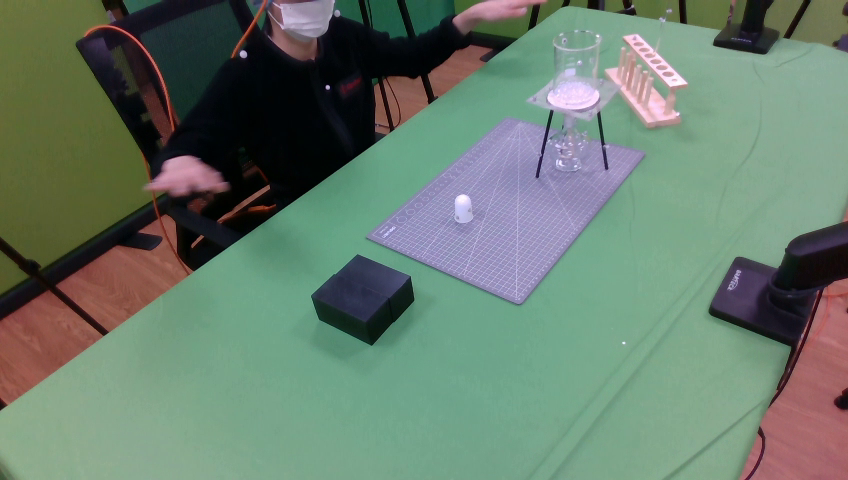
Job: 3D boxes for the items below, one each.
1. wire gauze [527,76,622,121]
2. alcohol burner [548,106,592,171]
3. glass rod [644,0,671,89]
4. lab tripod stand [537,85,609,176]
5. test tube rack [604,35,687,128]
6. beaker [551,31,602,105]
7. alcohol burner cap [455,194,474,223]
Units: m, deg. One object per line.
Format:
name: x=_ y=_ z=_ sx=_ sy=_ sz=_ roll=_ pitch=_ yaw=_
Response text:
wire gauze: x=0.255 y=-0.247 z=1.030 sx=0.124 sy=0.011 sz=0.122 roll=23 pitch=49 yaw=34
alcohol burner: x=0.258 y=-0.183 z=1.072 sx=0.078 sy=0.119 sz=0.077 roll=-6 pitch=41 yaw=6
glass rod: x=0.463 y=-0.387 z=1.204 sx=0.008 sy=0.200 sz=0.008 roll=0 pitch=47 yaw=1
lab tripod stand: x=0.259 y=-0.192 z=1.068 sx=0.148 sy=0.132 sz=0.147 roll=-4 pitch=43 yaw=4
test tube rack: x=0.447 y=-0.330 z=1.241 sx=0.067 sy=0.085 sz=0.241 roll=-9 pitch=41 yaw=-2
beaker: x=0.252 y=-0.282 z=0.998 sx=0.084 sy=0.101 sz=0.073 roll=-16 pitch=42 yaw=-7
alcohol burner cap: x=0.066 y=-0.054 z=1.006 sx=0.034 sy=0.048 sz=0.033 roll=-5 pitch=40 yaw=4
